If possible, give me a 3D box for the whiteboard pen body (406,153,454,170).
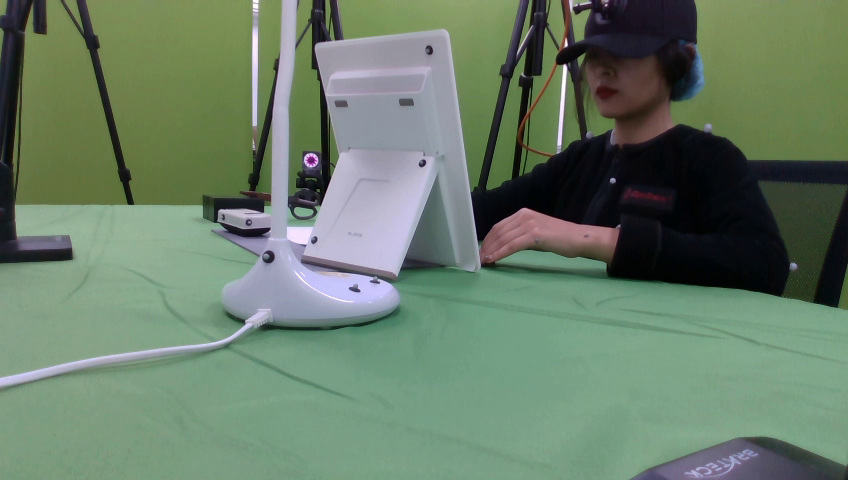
[{"bbox_3d":[0.009,-0.111,0.848,0.017,0.017,0.141,6,5,26],"label":"whiteboard pen body"}]

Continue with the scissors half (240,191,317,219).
[{"bbox_3d":[-0.317,-0.079,1.326,0.176,0.040,0.013,18,16,-31],"label":"scissors half"}]

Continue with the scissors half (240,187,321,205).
[{"bbox_3d":[-0.311,-0.097,1.319,0.176,0.040,0.012,-1,30,-24],"label":"scissors half"}]

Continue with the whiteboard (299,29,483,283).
[{"bbox_3d":[-0.074,-0.082,0.742,0.216,0.305,0.144,9,29,38],"label":"whiteboard"}]

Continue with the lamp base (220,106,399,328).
[{"bbox_3d":[-0.101,-0.023,0.531,0.160,0.180,0.179,4,10,10],"label":"lamp base"}]

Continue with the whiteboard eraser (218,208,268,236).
[{"bbox_3d":[-0.309,-0.031,1.044,0.056,0.042,0.112,-2,9,-40],"label":"whiteboard eraser"}]

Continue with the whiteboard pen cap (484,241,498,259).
[{"bbox_3d":[0.094,0.014,0.867,0.018,0.018,0.033,2,23,-6],"label":"whiteboard pen cap"}]
